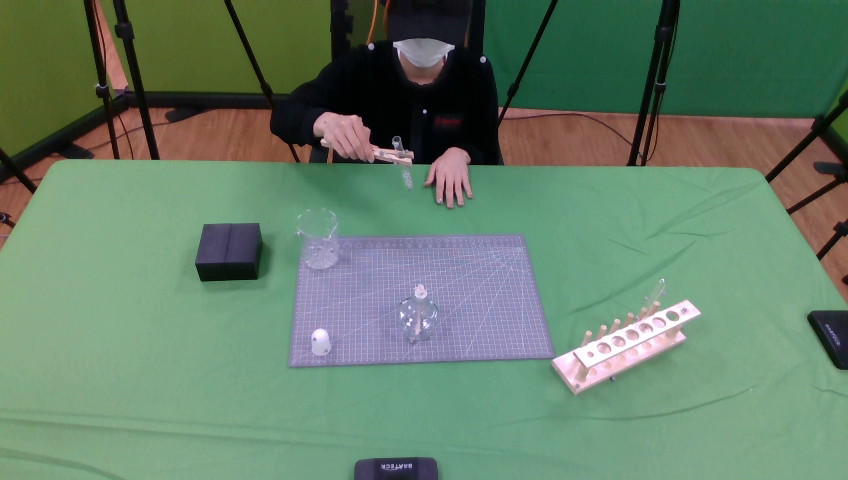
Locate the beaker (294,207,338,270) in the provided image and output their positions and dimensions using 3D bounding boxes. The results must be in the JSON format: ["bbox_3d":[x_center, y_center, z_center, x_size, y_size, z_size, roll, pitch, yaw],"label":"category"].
[{"bbox_3d":[-0.196,0.003,1.123,0.074,0.101,0.083,-23,53,-24],"label":"beaker"}]

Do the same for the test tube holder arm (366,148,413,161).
[{"bbox_3d":[-0.064,-0.156,1.103,0.088,0.015,0.010,6,57,9],"label":"test tube holder arm"}]

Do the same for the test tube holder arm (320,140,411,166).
[{"bbox_3d":[-0.109,-0.160,1.108,0.178,0.015,0.013,13,58,12],"label":"test tube holder arm"}]

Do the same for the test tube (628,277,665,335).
[{"bbox_3d":[0.371,0.112,1.014,0.017,0.151,0.017,3,47,-3],"label":"test tube"}]

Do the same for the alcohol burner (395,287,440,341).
[{"bbox_3d":[-0.010,0.116,1.018,0.078,0.119,0.077,3,47,-3],"label":"alcohol burner"}]

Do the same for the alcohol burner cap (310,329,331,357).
[{"bbox_3d":[-0.173,0.168,1.005,0.034,0.048,0.033,2,46,-2],"label":"alcohol burner cap"}]

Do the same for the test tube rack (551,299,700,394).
[{"bbox_3d":[0.339,0.166,1.021,0.242,0.085,0.066,-19,50,-21],"label":"test tube rack"}]

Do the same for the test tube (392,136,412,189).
[{"bbox_3d":[-0.039,-0.139,1.114,0.017,0.151,0.017,-4,60,7],"label":"test tube"}]
